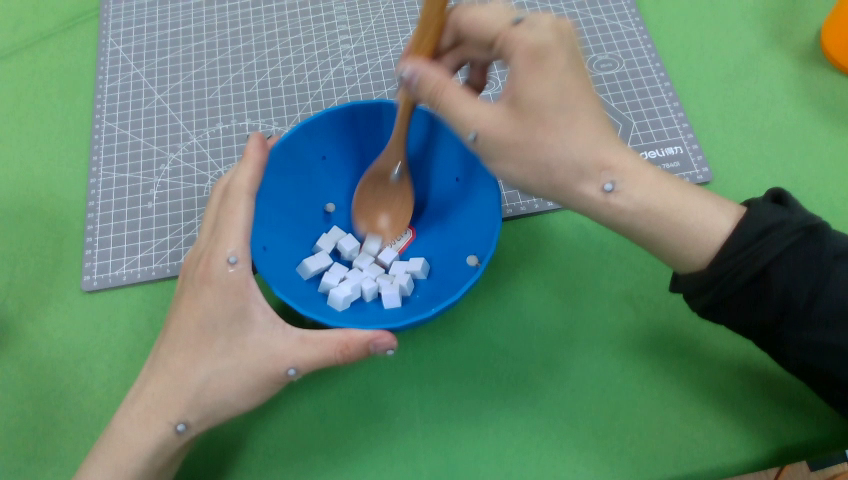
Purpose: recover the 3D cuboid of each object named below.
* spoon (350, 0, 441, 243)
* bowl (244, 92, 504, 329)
[{"bbox_3d":[-0.011,-0.073,0.346,0.041,0.195,0.021,22,43,6],"label":"spoon"},{"bbox_3d":[-0.028,-0.009,0.384,0.151,0.077,0.150,0,67,1],"label":"bowl"}]
